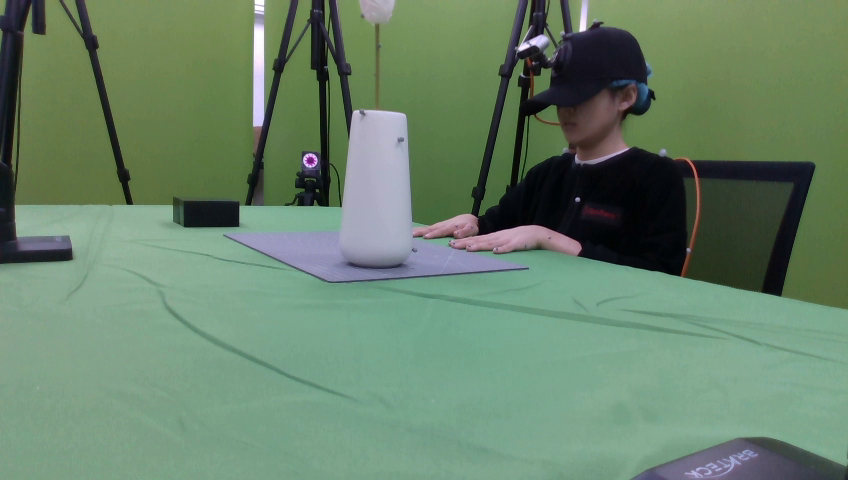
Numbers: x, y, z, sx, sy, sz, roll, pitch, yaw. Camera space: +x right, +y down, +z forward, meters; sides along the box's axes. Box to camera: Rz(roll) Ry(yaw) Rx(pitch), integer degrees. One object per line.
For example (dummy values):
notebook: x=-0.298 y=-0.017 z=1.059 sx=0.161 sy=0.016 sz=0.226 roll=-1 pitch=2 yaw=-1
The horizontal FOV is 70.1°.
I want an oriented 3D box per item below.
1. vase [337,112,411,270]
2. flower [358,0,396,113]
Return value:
vase: x=-0.064 y=-0.064 z=0.790 sx=0.098 sy=0.200 sz=0.098 roll=2 pitch=7 yaw=0
flower: x=-0.059 y=-0.142 z=0.761 sx=0.044 sy=0.361 sz=0.038 roll=13 pitch=27 yaw=25
